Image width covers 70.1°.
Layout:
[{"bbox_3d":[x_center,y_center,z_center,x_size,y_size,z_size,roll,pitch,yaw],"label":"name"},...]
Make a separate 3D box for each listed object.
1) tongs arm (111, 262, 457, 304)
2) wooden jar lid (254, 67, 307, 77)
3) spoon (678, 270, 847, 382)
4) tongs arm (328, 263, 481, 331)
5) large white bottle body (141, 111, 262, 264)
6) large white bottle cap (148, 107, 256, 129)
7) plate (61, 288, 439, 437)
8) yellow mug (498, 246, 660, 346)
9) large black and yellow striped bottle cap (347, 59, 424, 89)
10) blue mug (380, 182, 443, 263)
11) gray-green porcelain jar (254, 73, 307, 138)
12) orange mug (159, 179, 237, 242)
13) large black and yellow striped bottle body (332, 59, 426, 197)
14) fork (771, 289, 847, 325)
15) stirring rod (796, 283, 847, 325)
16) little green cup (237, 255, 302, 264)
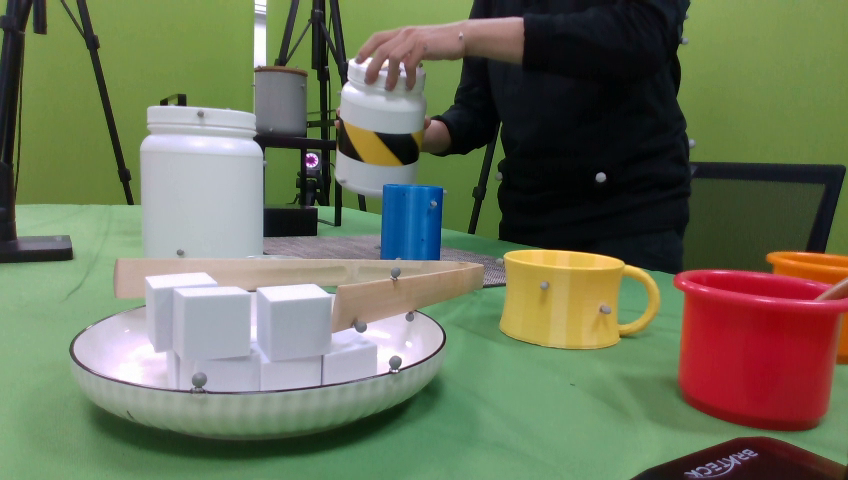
[{"bbox_3d":[-0.080,0.033,0.527,0.028,0.027,0.389,-3,-4,33],"label":"tongs arm"},{"bbox_3d":[-0.296,-0.339,1.251,0.108,0.020,0.108,2,7,0],"label":"wooden jar lid"},{"bbox_3d":[0.229,0.031,0.338,0.193,0.021,0.042,-44,-17,27],"label":"spoon"},{"bbox_3d":[-0.003,0.036,0.493,0.050,0.026,0.386,1,-1,19],"label":"tongs arm"},{"bbox_3d":[-0.254,-0.053,0.697,0.131,0.184,0.130,2,7,0],"label":"large white bottle body"},{"bbox_3d":[-0.250,-0.137,0.686,0.115,0.018,0.115,2,8,0],"label":"large white bottle cap"},{"bbox_3d":[-0.095,0.069,0.362,0.208,0.039,0.207,3,7,0],"label":"plate"},{"bbox_3d":[0.130,0.045,0.508,0.131,0.064,0.100,4,7,6],"label":"yellow mug"},{"bbox_3d":[-0.056,-0.246,0.893,0.115,0.019,0.115,7,26,-3],"label":"large black and yellow striped bottle cap"},{"bbox_3d":[-0.019,-0.026,0.833,0.082,0.106,0.116,1,7,-7],"label":"blue mug"},{"bbox_3d":[-0.298,-0.277,1.259,0.106,0.126,0.106,3,7,0],"label":"gray-green porcelain jar"},{"bbox_3d":[-0.368,-0.052,0.991,0.127,0.101,0.083,-10,14,-41],"label":"orange mug"},{"bbox_3d":[-0.069,-0.174,0.933,0.131,0.184,0.130,8,28,-4],"label":"large black and yellow striped bottle body"},{"bbox_3d":[0.335,0.018,0.443,0.028,0.018,0.207,-1,-36,-20],"label":"fork"},{"bbox_3d":[0.347,0.019,0.460,0.014,0.176,0.006,-17,59,-26],"label":"stirring rod"},{"bbox_3d":[-0.150,0.038,0.590,0.061,0.038,0.061,3,7,0],"label":"little green cup"}]
